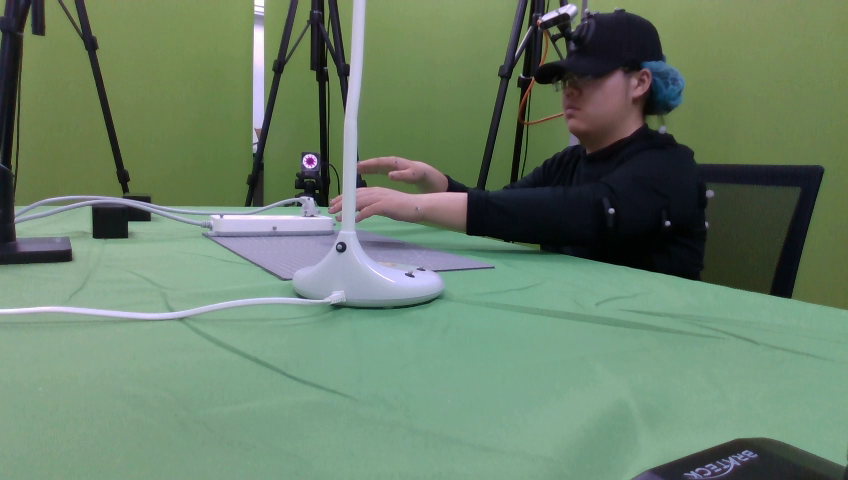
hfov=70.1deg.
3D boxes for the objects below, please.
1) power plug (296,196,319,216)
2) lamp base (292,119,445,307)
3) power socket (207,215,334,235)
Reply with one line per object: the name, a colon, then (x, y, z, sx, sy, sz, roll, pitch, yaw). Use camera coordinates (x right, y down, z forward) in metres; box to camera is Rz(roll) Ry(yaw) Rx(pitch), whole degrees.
power plug: (-0.219, -0.057, 1.142, 0.035, 0.052, 0.072, 0, 7, -19)
lamp base: (-0.056, -0.030, 0.616, 0.160, 0.180, 0.179, 3, 10, 8)
power socket: (-0.270, -0.028, 1.082, 0.228, 0.032, 0.072, -2, 7, -30)
